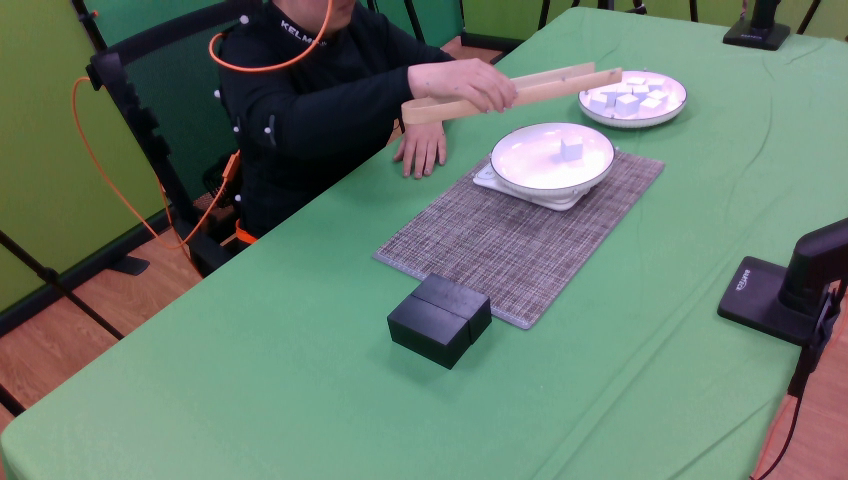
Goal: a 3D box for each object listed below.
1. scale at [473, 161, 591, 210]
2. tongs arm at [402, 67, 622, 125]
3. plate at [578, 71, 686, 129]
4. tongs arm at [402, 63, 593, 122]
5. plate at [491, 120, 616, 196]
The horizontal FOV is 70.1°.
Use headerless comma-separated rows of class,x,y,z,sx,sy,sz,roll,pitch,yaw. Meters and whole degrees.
scale,0.202,-0.121,1.074,0.199,0.032,0.149,23,49,33
tongs arm,0.151,-0.236,0.978,0.387,0.026,0.050,-17,29,-20
plate,0.416,-0.279,1.222,0.209,0.038,0.208,-5,41,5
tongs arm,0.134,-0.252,1.016,0.389,0.028,0.028,-17,33,-22
plate,0.221,-0.137,1.038,0.207,0.039,0.206,-6,41,5
